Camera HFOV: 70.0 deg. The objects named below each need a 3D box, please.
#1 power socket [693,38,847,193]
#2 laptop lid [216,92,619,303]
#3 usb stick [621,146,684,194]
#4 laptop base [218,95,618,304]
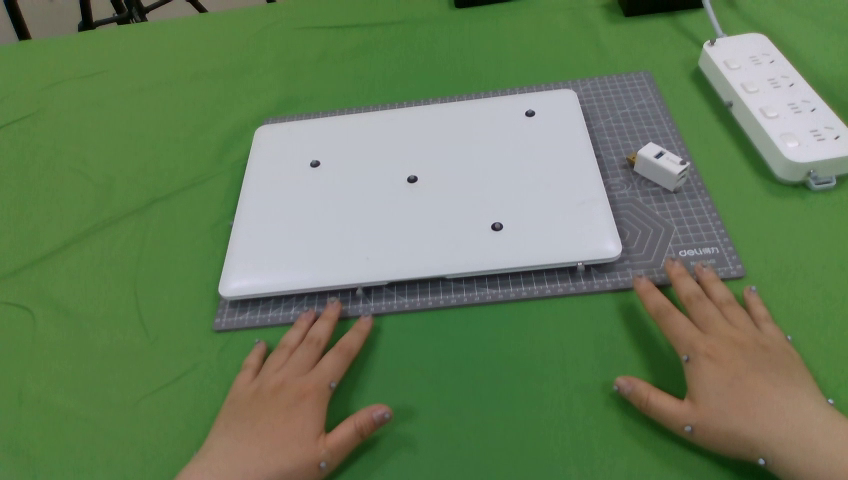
[{"bbox_3d":[0.344,-0.136,0.610,0.072,0.033,0.224,-8,48,1],"label":"power socket"},{"bbox_3d":[-0.013,-0.052,0.588,0.356,0.013,0.239,-5,50,5],"label":"laptop lid"},{"bbox_3d":[0.214,-0.069,0.573,0.021,0.027,0.058,-34,49,-21],"label":"usb stick"},{"bbox_3d":[-0.012,-0.046,0.598,0.354,0.023,0.233,-6,51,4],"label":"laptop base"}]
